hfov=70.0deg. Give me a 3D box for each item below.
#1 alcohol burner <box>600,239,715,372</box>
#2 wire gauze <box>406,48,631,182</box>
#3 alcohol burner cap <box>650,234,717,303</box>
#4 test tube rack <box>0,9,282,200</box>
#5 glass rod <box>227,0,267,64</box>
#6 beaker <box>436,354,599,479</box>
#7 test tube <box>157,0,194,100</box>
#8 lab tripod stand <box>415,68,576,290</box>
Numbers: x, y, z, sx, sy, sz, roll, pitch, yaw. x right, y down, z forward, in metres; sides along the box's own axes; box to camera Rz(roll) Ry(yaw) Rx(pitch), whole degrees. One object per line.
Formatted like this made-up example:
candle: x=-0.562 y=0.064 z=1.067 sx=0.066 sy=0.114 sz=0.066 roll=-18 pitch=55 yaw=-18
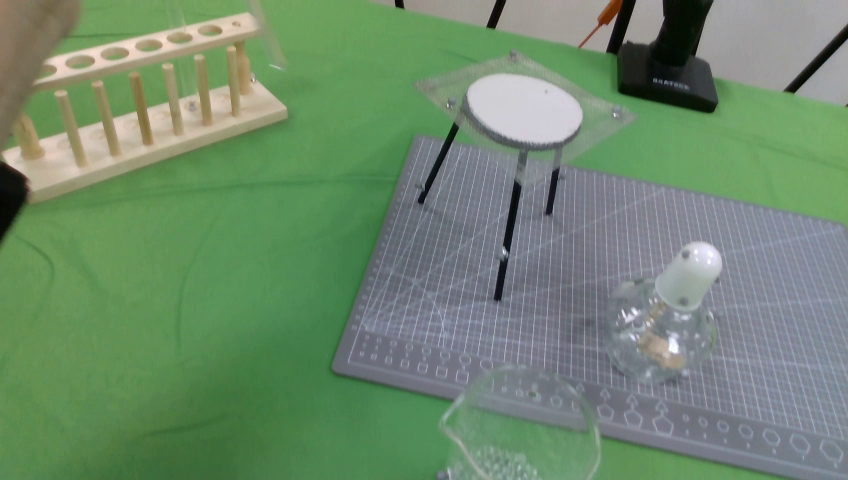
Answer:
alcohol burner: x=0.171 y=0.041 z=0.430 sx=0.078 sy=0.120 sz=0.077 roll=6 pitch=45 yaw=-6
wire gauze: x=0.069 y=-0.102 z=0.442 sx=0.121 sy=0.011 sz=0.124 roll=-28 pitch=58 yaw=-30
alcohol burner cap: x=0.175 y=0.017 z=0.403 sx=0.034 sy=0.048 sz=0.033 roll=4 pitch=50 yaw=-4
test tube rack: x=-0.252 y=-0.129 z=0.545 sx=0.242 sy=0.086 sz=0.066 roll=-28 pitch=57 yaw=-31
glass rod: x=-0.109 y=-0.160 z=0.259 sx=0.008 sy=0.202 sz=0.008 roll=-7 pitch=51 yaw=9
beaker: x=0.044 y=0.123 z=0.343 sx=0.084 sy=0.101 sz=0.073 roll=5 pitch=45 yaw=-3
test tube: x=-0.227 y=-0.194 z=0.542 sx=0.017 sy=0.151 sz=0.017 roll=3 pitch=43 yaw=-3
lab tripod stand: x=0.063 y=-0.055 z=0.490 sx=0.149 sy=0.132 sz=0.147 roll=6 pitch=47 yaw=-6
